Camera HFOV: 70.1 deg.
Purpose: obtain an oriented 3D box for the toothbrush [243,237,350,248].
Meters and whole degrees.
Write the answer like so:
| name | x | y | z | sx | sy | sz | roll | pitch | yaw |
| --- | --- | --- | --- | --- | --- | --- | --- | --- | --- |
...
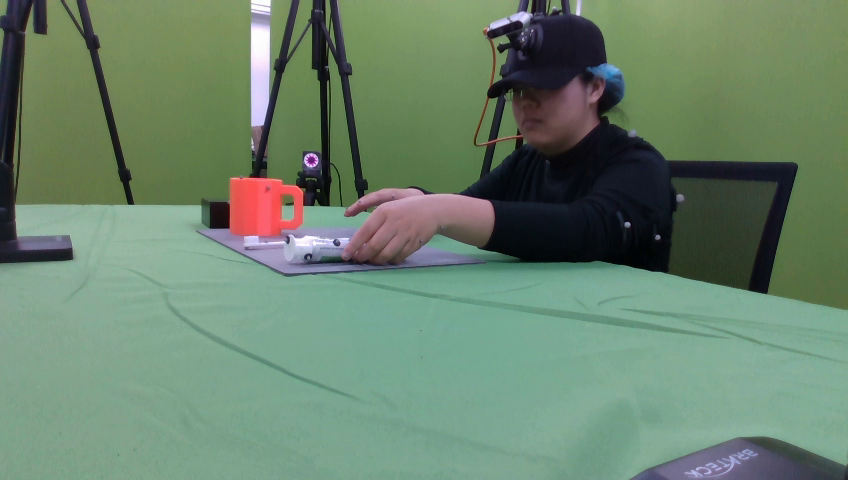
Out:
| name | x | y | z | sx | sy | sz | roll | pitch | yaw |
| --- | --- | --- | --- | --- | --- | --- | --- | --- | --- |
| toothbrush | -0.191 | 0.002 | 0.927 | 0.183 | 0.016 | 0.014 | -2 | -8 | -41 |

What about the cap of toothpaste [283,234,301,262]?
| name | x | y | z | sx | sy | sz | roll | pitch | yaw |
| --- | --- | --- | --- | --- | --- | --- | --- | --- | --- |
| cap of toothpaste | -0.167 | 0.010 | 0.764 | 0.011 | 0.037 | 0.037 | 3 | 5 | -38 |

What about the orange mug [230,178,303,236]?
| name | x | y | z | sx | sy | sz | roll | pitch | yaw |
| --- | --- | --- | --- | --- | --- | --- | --- | --- | --- |
| orange mug | -0.276 | -0.060 | 1.058 | 0.126 | 0.101 | 0.083 | -2 | 8 | -5 |

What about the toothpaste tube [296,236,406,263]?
| name | x | y | z | sx | sy | sz | roll | pitch | yaw |
| --- | --- | --- | --- | --- | --- | --- | --- | --- | --- |
| toothpaste tube | -0.104 | 0.014 | 0.811 | 0.166 | 0.034 | 0.055 | 2 | 0 | -39 |
